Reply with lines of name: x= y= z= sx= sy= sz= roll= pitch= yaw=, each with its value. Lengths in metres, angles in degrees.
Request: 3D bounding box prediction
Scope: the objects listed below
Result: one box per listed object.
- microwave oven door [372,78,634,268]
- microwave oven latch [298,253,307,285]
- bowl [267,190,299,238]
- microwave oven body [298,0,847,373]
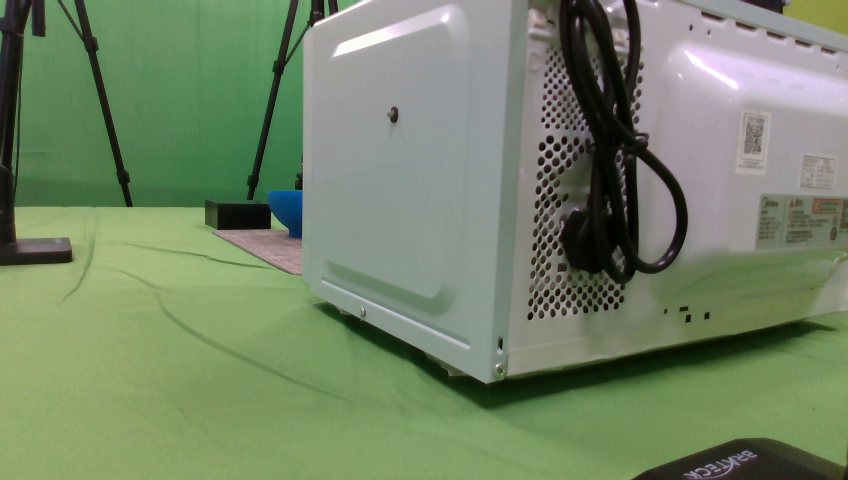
microwave oven door: x=0.096 y=-0.099 z=0.837 sx=0.355 sy=0.243 sz=0.039 roll=5 pitch=8 yaw=20
microwave oven latch: x=-0.081 y=0.027 z=0.583 sx=0.079 sy=0.029 sz=0.030 roll=-2 pitch=8 yaw=-33
bowl: x=-0.202 y=-0.046 z=1.070 sx=0.151 sy=0.077 sz=0.151 roll=3 pitch=7 yaw=0
microwave oven body: x=0.151 y=-0.056 z=0.543 sx=0.444 sy=0.260 sz=0.324 roll=-2 pitch=7 yaw=-33
